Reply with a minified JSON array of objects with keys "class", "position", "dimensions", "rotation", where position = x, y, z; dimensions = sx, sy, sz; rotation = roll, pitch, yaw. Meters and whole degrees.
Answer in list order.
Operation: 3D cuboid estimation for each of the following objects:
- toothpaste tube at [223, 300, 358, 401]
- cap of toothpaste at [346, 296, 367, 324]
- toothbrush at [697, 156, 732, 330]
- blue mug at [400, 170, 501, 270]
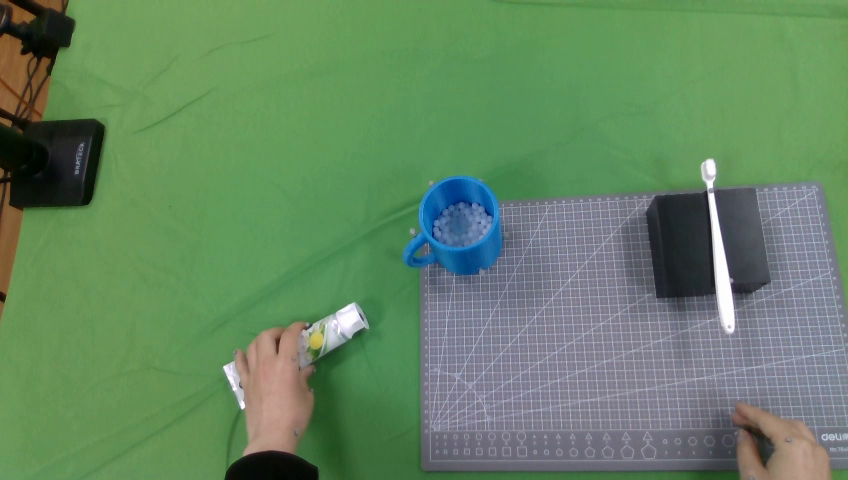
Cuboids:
[{"class":"toothpaste tube","position":[-0.146,0.117,0.686],"dimensions":[0.165,0.035,0.054],"rotation":[-30,71,-1]},{"class":"cap of toothpaste","position":[-0.077,0.080,0.687],"dimensions":[0.011,0.037,0.037],"rotation":[-29,72,-1]},{"class":"toothbrush","position":[0.295,0.000,0.612],"dimensions":[0.014,0.017,0.181],"rotation":[-1,75,2]},{"class":"blue mug","position":[0.027,-0.010,0.658],"dimensions":[0.116,0.106,0.082],"rotation":[-30,72,0]}]
